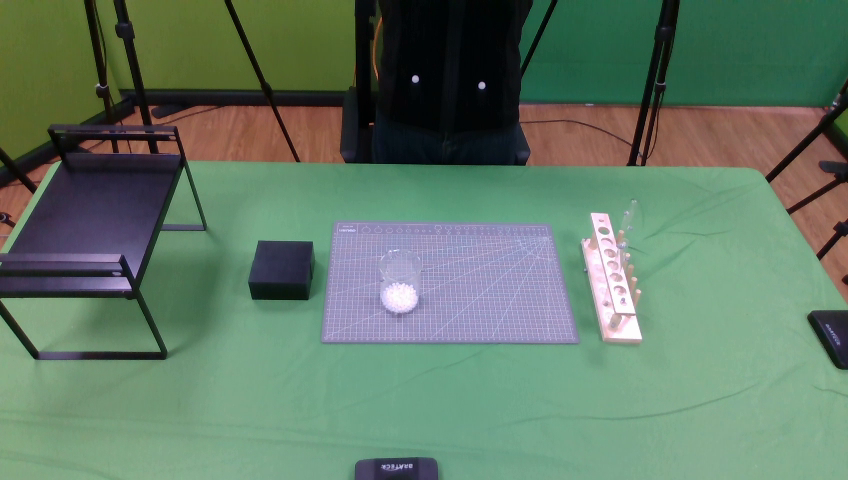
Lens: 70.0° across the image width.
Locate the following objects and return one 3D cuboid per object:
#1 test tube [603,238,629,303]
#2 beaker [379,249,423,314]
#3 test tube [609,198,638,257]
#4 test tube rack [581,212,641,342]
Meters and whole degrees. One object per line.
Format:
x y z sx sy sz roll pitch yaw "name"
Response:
0.334 0.056 1.058 0.017 0.151 0.017 0 41 0 "test tube"
-0.044 0.074 1.066 0.074 0.101 0.083 -22 51 -23 "beaker"
0.375 -0.021 1.141 0.017 0.151 0.017 2 45 -2 "test tube"
0.351 0.063 1.121 0.067 0.085 0.241 3 46 -1 "test tube rack"
